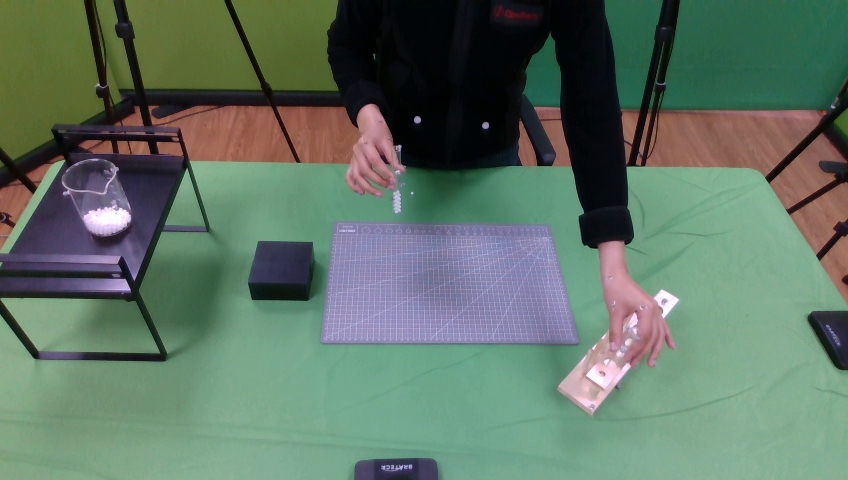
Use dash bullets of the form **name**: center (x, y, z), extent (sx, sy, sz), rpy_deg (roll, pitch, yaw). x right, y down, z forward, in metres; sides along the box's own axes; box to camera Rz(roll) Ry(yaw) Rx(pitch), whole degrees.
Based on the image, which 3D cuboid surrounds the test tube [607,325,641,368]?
- **test tube**: center (0.294, 0.178, 0.917), extent (0.017, 0.151, 0.017), rpy_deg (5, 47, -5)

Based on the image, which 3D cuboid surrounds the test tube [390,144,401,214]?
- **test tube**: center (-0.047, -0.099, 1.014), extent (0.017, 0.151, 0.017), rpy_deg (1, 48, -1)

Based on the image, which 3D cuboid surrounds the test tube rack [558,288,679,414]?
- **test tube rack**: center (0.326, 0.171, 1.009), extent (0.066, 0.085, 0.242), rpy_deg (35, 54, 27)

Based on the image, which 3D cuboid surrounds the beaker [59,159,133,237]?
- **beaker**: center (-0.488, -0.060, 0.914), extent (0.074, 0.101, 0.083), rpy_deg (-35, 58, -31)
